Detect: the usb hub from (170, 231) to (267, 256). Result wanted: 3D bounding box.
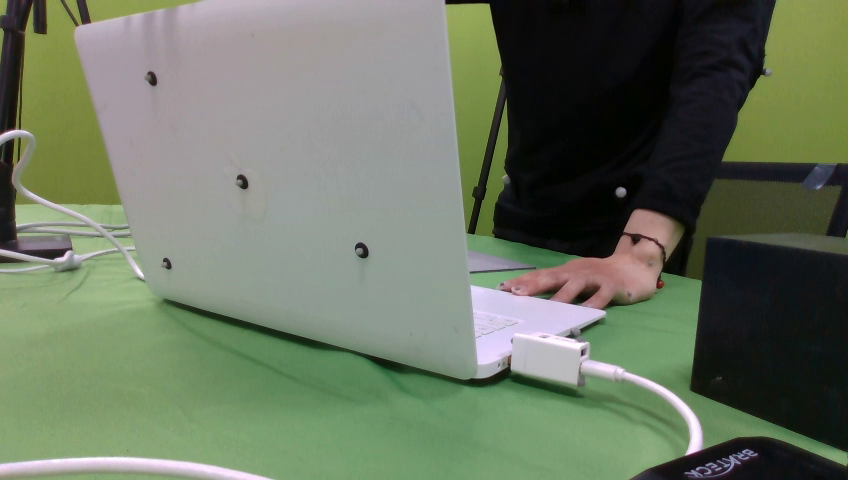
[{"bbox_3d":[-0.290,0.005,0.862,0.049,0.025,0.126,10,11,42],"label":"usb hub"}]

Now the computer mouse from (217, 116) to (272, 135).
[{"bbox_3d":[-0.402,-0.258,1.353,0.118,0.041,0.062,-6,15,-34],"label":"computer mouse"}]

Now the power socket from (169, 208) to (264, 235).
[{"bbox_3d":[-0.381,-0.038,1.128,0.072,0.032,0.227,4,8,16],"label":"power socket"}]

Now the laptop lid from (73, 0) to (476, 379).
[{"bbox_3d":[-0.125,-0.042,0.418,0.355,0.241,0.013,9,25,34],"label":"laptop lid"}]

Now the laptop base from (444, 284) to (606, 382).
[{"bbox_3d":[-0.042,0.059,0.554,0.352,0.023,0.237,8,7,35],"label":"laptop base"}]

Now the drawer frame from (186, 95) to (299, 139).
[{"bbox_3d":[-0.417,-0.277,1.378,0.203,0.082,0.212,-3,8,-32],"label":"drawer frame"}]

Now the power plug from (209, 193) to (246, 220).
[{"bbox_3d":[-0.388,-0.067,1.205,0.072,0.052,0.035,3,8,26],"label":"power plug"}]

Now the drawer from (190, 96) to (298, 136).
[{"bbox_3d":[-0.413,-0.276,1.376,0.195,0.073,0.210,-3,9,-31],"label":"drawer"}]

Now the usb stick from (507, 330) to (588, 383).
[{"bbox_3d":[0.072,0.072,0.383,0.059,0.027,0.021,1,1,34],"label":"usb stick"}]
